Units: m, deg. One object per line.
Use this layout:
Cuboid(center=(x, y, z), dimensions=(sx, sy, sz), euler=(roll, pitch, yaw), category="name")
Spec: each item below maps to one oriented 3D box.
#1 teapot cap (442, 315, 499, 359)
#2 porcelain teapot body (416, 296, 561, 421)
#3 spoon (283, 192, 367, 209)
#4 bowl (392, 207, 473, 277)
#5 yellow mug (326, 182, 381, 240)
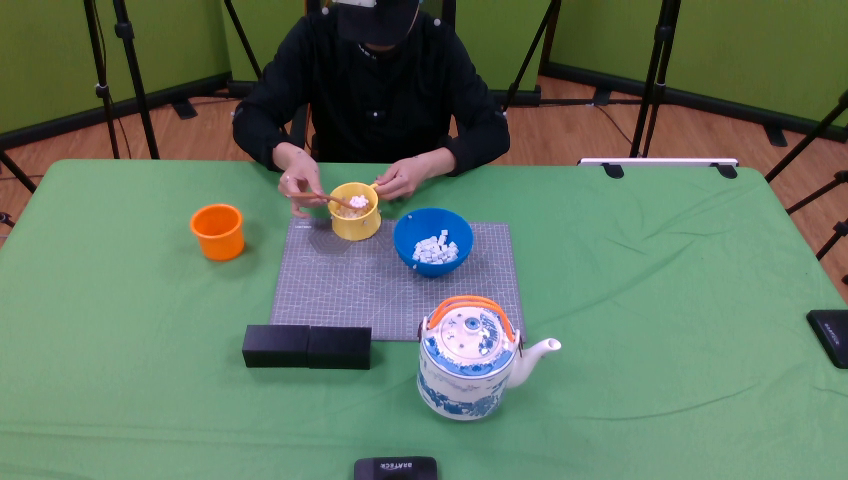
Cuboid(center=(0.068, 0.133, 0.880), dimensions=(0.085, 0.044, 0.084), euler=(4, 45, -4), category="teapot cap")
Cuboid(center=(0.094, 0.164, 0.907), dimensions=(0.205, 0.226, 0.144), euler=(6, 45, 1), category="porcelain teapot body")
Cuboid(center=(-0.184, -0.079, 1.141), dimensions=(0.194, 0.021, 0.041), euler=(7, 23, -49), category="spoon")
Cuboid(center=(0.014, 0.016, 1.140), dimensions=(0.151, 0.077, 0.150), euler=(2, 46, -2), category="bowl")
Cuboid(center=(-0.130, -0.067, 1.208), dimensions=(0.099, 0.064, 0.130), euler=(31, 58, 23), category="yellow mug")
